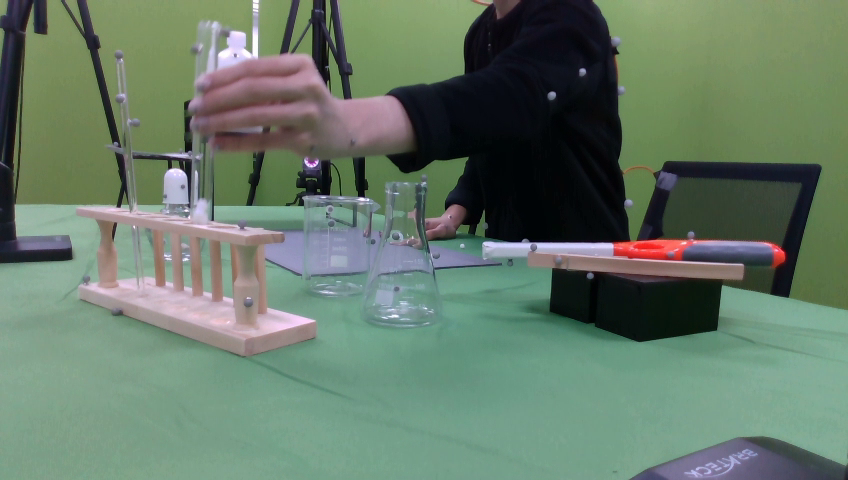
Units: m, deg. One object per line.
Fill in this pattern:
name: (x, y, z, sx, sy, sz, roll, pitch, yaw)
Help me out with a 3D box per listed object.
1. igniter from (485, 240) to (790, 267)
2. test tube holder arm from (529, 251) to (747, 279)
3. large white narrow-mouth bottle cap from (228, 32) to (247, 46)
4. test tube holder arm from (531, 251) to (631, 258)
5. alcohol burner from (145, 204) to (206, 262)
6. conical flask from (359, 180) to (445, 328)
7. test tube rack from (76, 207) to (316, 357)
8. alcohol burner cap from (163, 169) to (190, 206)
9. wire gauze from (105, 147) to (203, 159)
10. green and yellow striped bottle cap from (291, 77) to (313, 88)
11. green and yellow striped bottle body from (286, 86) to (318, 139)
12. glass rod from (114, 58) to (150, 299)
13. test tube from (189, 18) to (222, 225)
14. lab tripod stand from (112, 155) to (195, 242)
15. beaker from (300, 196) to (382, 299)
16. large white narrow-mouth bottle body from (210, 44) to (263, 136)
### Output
igniter: (0.197, 0.012, 0.585, 0.276, 0.025, 0.057, 1, 5, 12)
test tube holder arm: (0.182, 0.022, 0.523, 0.178, 0.015, 0.013, 3, 8, 12)
large white narrow-mouth bottle cap: (-0.364, -0.390, 1.180, 0.038, 0.024, 0.037, 4, 8, 0)
test tube holder arm: (0.139, 0.019, 0.538, 0.087, 0.015, 0.010, 4, 8, 14)
alcohol burner: (-0.322, -0.031, 0.788, 0.078, 0.119, 0.078, 0, 7, 0)
conical flask: (-0.017, 0.010, 0.522, 0.075, 0.122, 0.075, 2, 7, 0)
test tube rack: (-0.196, 0.023, 0.500, 0.241, 0.085, 0.067, 7, 9, 36)
alcohol burner cap: (-0.321, -0.068, 0.782, 0.034, 0.048, 0.034, 1, 7, 0)
wire gauze: (-0.408, -0.131, 0.929, 0.125, 0.011, 0.121, 2, 6, -11)
green and yellow striped bottle cap: (-0.250, -0.321, 1.237, 0.045, 0.020, 0.045, 4, 5, 0)
green and yellow striped bottle body: (-0.251, -0.270, 1.245, 0.063, 0.119, 0.063, 2, 7, 0)
glass rod: (-0.237, -0.044, 0.492, 0.008, 0.199, 0.008, 1, 15, 0)
test tube: (-0.162, -0.085, 0.447, 0.017, 0.150, 0.017, 6, 8, -1)
lab tripod stand: (-0.405, -0.064, 0.931, 0.148, 0.131, 0.148, 1, 6, 0)
beaker: (-0.087, 0.006, 0.626, 0.084, 0.100, 0.073, 1, 8, -17)
large white narrow-mouth bottle body: (-0.369, -0.305, 1.193, 0.102, 0.194, 0.102, 3, 8, 0)
